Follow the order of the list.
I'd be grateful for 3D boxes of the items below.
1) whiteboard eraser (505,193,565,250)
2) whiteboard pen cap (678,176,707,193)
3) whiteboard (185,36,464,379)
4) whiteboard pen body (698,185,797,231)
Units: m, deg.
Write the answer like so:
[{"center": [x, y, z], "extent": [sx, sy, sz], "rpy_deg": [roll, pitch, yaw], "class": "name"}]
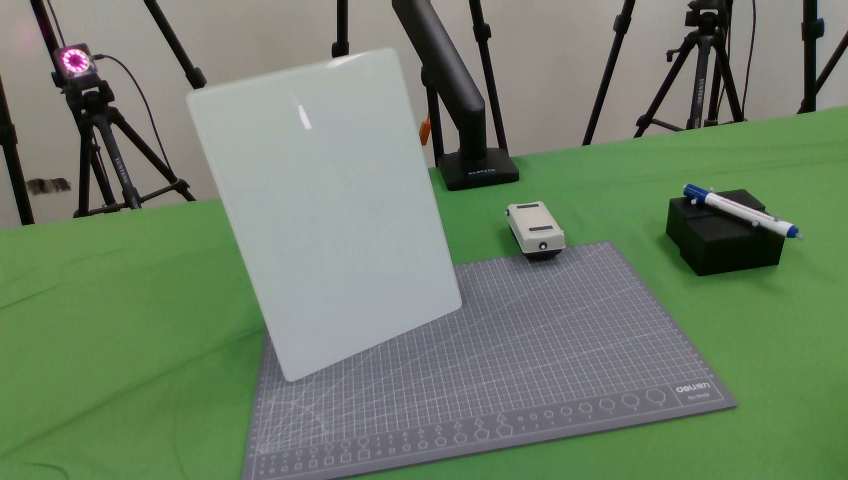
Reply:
[{"center": [0.146, -0.025, 0.806], "extent": [0.055, 0.042, 0.111], "rpy_deg": [-9, 29, -1], "class": "whiteboard eraser"}, {"center": [0.343, -0.070, 0.772], "extent": [0.033, 0.018, 0.018], "rpy_deg": [-11, 28, 26], "class": "whiteboard pen cap"}, {"center": [-0.113, -0.043, 0.685], "extent": [0.217, 0.307, 0.143], "rpy_deg": [-21, 16, -21], "class": "whiteboard"}, {"center": [0.378, -0.044, 0.728], "extent": [0.017, 0.017, 0.139], "rpy_deg": [-23, 36, -24], "class": "whiteboard pen body"}]
